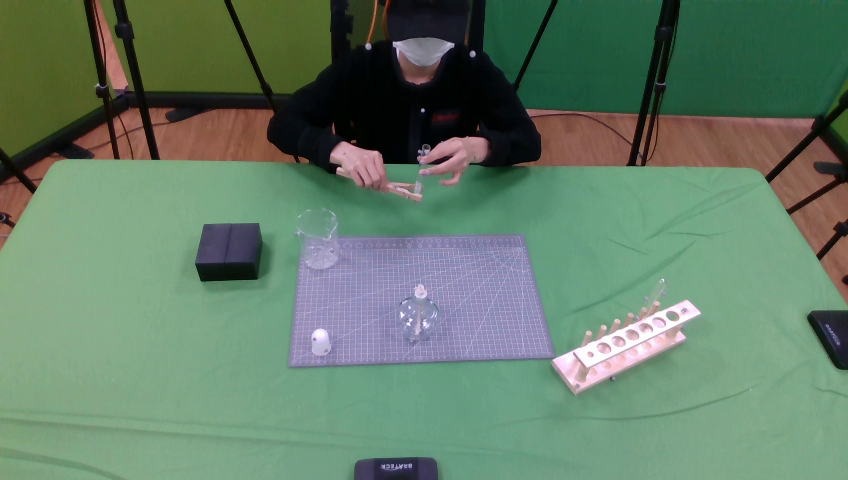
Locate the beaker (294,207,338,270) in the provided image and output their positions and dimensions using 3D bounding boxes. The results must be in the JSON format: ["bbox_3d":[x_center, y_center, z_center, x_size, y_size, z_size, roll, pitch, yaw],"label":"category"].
[{"bbox_3d":[-0.196,0.003,1.123,0.074,0.101,0.083,-23,53,-24],"label":"beaker"}]

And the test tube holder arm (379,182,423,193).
[{"bbox_3d":[-0.047,-0.104,1.199,0.088,0.015,0.010,3,48,-10],"label":"test tube holder arm"}]

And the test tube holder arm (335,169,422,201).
[{"bbox_3d":[-0.091,-0.109,1.195,0.178,0.015,0.013,16,46,3],"label":"test tube holder arm"}]

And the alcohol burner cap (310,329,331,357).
[{"bbox_3d":[-0.173,0.168,1.004,0.034,0.048,0.033,2,46,-2],"label":"alcohol burner cap"}]

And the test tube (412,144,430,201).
[{"bbox_3d":[-0.008,-0.125,1.156,0.017,0.151,0.017,5,54,-7],"label":"test tube"}]

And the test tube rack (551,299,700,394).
[{"bbox_3d":[0.339,0.166,1.021,0.242,0.085,0.066,-19,50,-21],"label":"test tube rack"}]

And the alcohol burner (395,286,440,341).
[{"bbox_3d":[-0.010,0.116,1.018,0.078,0.119,0.077,3,47,-3],"label":"alcohol burner"}]

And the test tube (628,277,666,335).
[{"bbox_3d":[0.371,0.112,1.014,0.017,0.151,0.017,3,47,-3],"label":"test tube"}]
